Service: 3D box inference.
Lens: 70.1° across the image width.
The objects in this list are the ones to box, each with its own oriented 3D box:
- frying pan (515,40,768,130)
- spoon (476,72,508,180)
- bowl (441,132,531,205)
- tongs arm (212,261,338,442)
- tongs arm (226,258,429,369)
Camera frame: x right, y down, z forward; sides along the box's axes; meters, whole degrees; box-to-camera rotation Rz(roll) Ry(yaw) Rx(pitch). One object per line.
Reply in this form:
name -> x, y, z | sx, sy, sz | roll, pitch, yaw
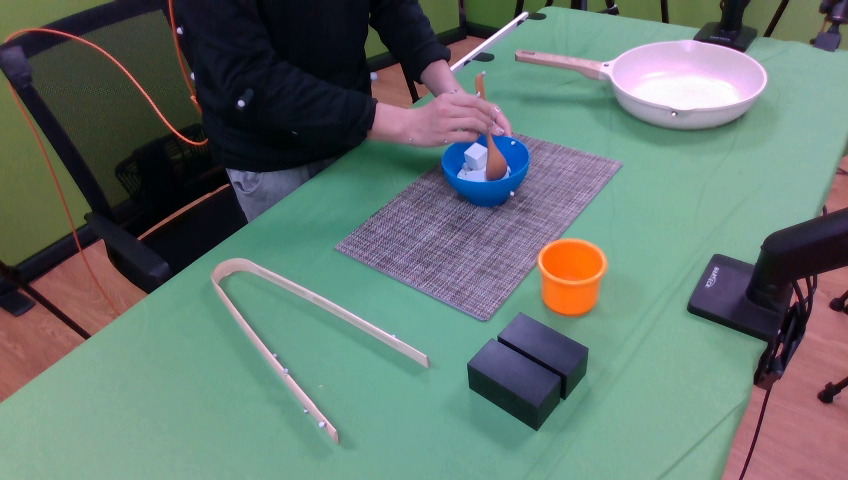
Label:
frying pan -> 0.423, -0.338, 1.236 | 0.486, 0.103, 0.307 | 16, 44, 13
spoon -> 0.102, -0.174, 0.952 | 0.042, 0.195, 0.021 | -25, 35, -9
bowl -> 0.106, -0.112, 1.033 | 0.151, 0.077, 0.150 | -4, 41, 4
tongs arm -> -0.208, 0.136, 0.830 | 0.051, 0.026, 0.381 | -31, 45, -28
tongs arm -> -0.150, 0.098, 0.873 | 0.384, 0.028, 0.028 | 22, 50, 30
